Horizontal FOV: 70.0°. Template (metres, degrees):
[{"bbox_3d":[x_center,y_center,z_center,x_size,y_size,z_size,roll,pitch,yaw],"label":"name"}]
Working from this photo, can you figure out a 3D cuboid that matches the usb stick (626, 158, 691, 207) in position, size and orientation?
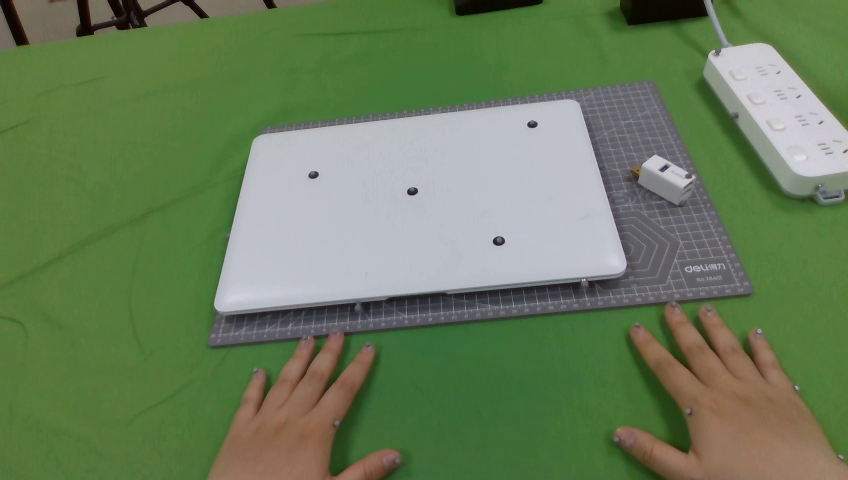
[{"bbox_3d":[0.215,-0.057,0.562,0.021,0.027,0.058,-35,49,-21],"label":"usb stick"}]

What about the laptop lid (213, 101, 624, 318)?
[{"bbox_3d":[-0.012,-0.040,0.577,0.356,0.013,0.239,-5,50,5],"label":"laptop lid"}]

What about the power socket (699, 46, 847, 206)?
[{"bbox_3d":[0.346,-0.123,0.599,0.072,0.033,0.224,-8,48,1],"label":"power socket"}]

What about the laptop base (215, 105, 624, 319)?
[{"bbox_3d":[-0.010,-0.034,0.587,0.354,0.023,0.233,-6,51,4],"label":"laptop base"}]
